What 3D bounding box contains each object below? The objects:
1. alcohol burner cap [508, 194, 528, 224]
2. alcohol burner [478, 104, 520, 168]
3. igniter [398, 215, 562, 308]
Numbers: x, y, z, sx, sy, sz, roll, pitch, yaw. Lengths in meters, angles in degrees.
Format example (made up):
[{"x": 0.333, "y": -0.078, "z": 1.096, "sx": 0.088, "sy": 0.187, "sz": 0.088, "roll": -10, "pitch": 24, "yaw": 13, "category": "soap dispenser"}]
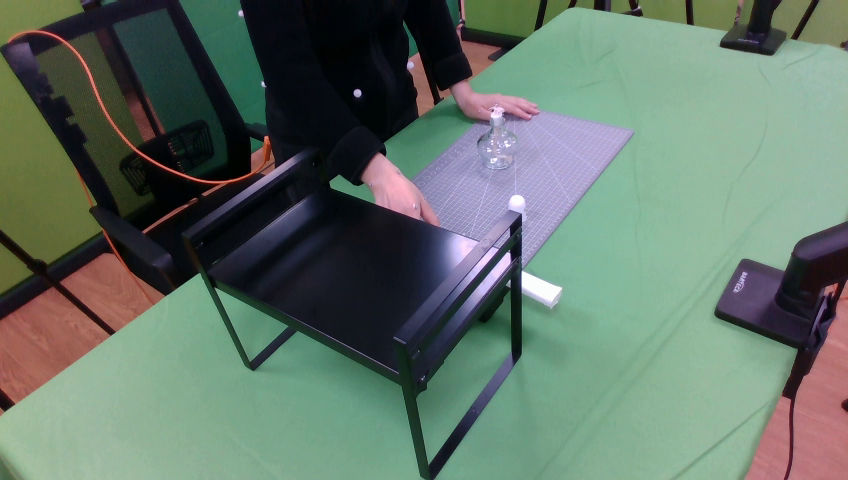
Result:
[{"x": 0.155, "y": -0.053, "z": 0.996, "sx": 0.034, "sy": 0.048, "sz": 0.033, "roll": -4, "pitch": 39, "yaw": 4, "category": "alcohol burner cap"}, {"x": 0.137, "y": -0.193, "z": 1.106, "sx": 0.078, "sy": 0.119, "sz": 0.077, "roll": -5, "pitch": 39, "yaw": 4, "category": "alcohol burner"}, {"x": 0.068, "y": 0.024, "z": 0.863, "sx": 0.274, "sy": 0.025, "sz": 0.057, "roll": 26, "pitch": 50, "yaw": 29, "category": "igniter"}]
